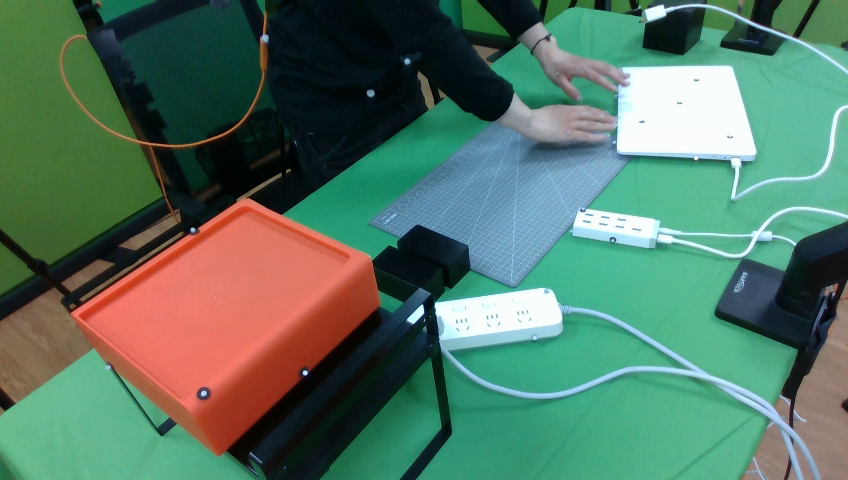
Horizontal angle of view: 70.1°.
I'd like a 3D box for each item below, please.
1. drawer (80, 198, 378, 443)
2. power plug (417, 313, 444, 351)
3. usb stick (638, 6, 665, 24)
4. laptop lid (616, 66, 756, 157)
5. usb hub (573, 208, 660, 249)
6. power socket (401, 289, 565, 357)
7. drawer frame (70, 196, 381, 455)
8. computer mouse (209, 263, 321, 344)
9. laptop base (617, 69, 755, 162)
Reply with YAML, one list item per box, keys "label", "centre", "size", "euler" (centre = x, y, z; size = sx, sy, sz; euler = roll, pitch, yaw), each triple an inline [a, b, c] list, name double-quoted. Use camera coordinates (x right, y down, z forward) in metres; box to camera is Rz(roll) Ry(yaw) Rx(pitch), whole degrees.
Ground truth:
- label: "drawer"
  centre: [-0.186, 0.064, 0.600]
  size: [0.193, 0.073, 0.212]
  euler: [25, 49, 31]
- label: "power plug"
  centre: [0.007, 0.127, 0.786]
  size: [0.035, 0.053, 0.072]
  euler: [0, 43, 8]
- label: "usb stick"
  centre: [0.503, -0.499, 1.347]
  size: [0.059, 0.027, 0.021]
  euler: [-21, 5, -1]
- label: "laptop lid"
  centre: [0.503, -0.265, 1.196]
  size: [0.241, 0.013, 0.356]
  euler: [5, 41, 16]
- label: "usb hub"
  centre: [0.302, -0.019, 0.949]
  size: [0.124, 0.025, 0.049]
  euler: [11, 43, 20]
- label: "power socket"
  centre: [0.080, 0.112, 0.822]
  size: [0.227, 0.033, 0.072]
  euler: [-7, 41, -1]
- label: "drawer frame"
  centre: [-0.186, 0.068, 0.597]
  size: [0.200, 0.083, 0.214]
  euler: [23, 49, 30]
- label: "computer mouse"
  centre: [-0.165, 0.062, 0.624]
  size: [0.116, 0.041, 0.063]
  euler: [22, 44, 27]
- label: "laptop base"
  centre: [0.507, -0.256, 1.204]
  size: [0.235, 0.023, 0.353]
  euler: [3, 41, 15]
